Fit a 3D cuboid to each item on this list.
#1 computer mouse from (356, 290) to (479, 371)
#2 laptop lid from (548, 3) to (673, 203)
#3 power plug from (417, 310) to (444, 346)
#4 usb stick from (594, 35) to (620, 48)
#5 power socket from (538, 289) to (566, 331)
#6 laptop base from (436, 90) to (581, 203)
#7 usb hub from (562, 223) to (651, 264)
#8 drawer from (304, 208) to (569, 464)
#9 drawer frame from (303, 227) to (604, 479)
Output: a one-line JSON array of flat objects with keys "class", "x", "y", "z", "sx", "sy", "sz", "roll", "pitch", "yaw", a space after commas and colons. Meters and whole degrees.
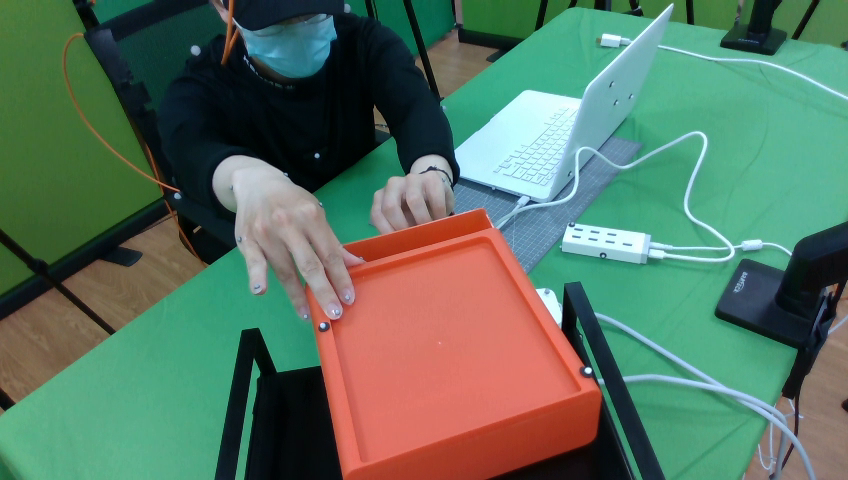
[{"class": "computer mouse", "x": -0.008, "y": 0.080, "z": 0.579, "sx": 0.116, "sy": 0.041, "sz": 0.063, "roll": 12, "pitch": 47, "yaw": 30}, {"class": "laptop lid", "x": 0.320, "y": -0.235, "z": 1.026, "sx": 0.013, "sy": 0.242, "sz": 0.357, "roll": 31, "pitch": 50, "yaw": 20}, {"class": "power plug", "x": 0.007, "y": 0.123, "z": 0.786, "sx": 0.035, "sy": 0.053, "sz": 0.072, "roll": 0, "pitch": 39, "yaw": 8}, {"class": "usb stick", "x": 0.443, "y": -0.482, "z": 1.466, "sx": 0.059, "sy": 0.021, "sz": 0.027, "roll": 10, "pitch": 43, "yaw": 10}, {"class": "power socket", "x": 0.081, "y": 0.111, "z": 0.822, "sx": 0.227, "sy": 0.033, "sz": 0.072, "roll": -6, "pitch": 41, "yaw": 0}, {"class": "laptop base", "x": 0.214, "y": -0.193, "z": 1.172, "sx": 0.233, "sy": 0.023, "sz": 0.355, "roll": 19, "pitch": 46, "yaw": 32}, {"class": "usb hub", "x": 0.279, "y": 0.004, "z": 0.926, "sx": 0.124, "sy": 0.025, "sz": 0.049, "roll": 10, "pitch": 43, "yaw": 19}, {"class": "drawer", "x": 0.003, "y": 0.076, "z": 0.562, "sx": 0.195, "sy": 0.073, "sz": 0.210, "roll": -14, "pitch": 41, "yaw": -9}, {"class": "drawer frame", "x": 0.014, "y": 0.099, "z": 0.530, "sx": 0.202, "sy": 0.083, "sz": 0.212, "roll": -15, "pitch": 41, "yaw": -10}]
